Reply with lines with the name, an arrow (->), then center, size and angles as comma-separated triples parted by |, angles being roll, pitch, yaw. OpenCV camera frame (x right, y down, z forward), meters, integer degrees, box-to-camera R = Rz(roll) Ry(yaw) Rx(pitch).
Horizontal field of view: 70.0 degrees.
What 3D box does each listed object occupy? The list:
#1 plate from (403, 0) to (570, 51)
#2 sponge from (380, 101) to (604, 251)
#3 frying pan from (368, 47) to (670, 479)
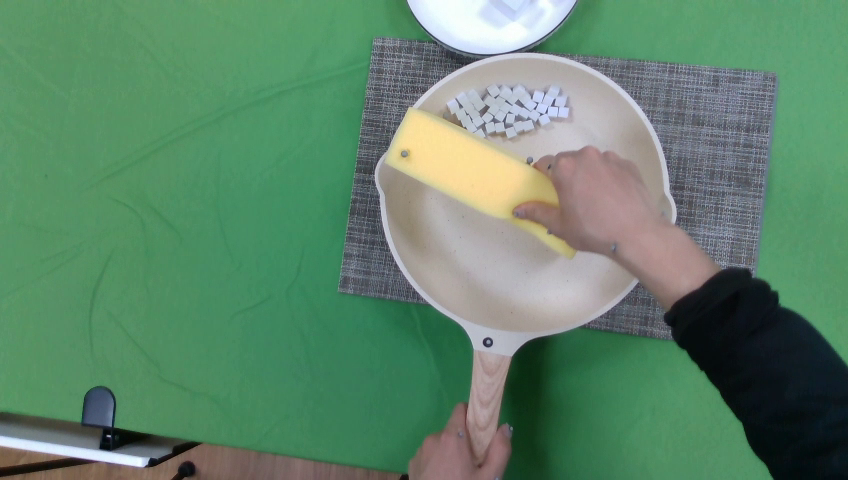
plate -> 0.072, -0.311, 0.682 | 0.207, 0.039, 0.207 | 0, 87, 6
sponge -> 0.073, -0.068, 0.617 | 0.206, 0.118, 0.061 | 26, 103, 6
frying pan -> 0.076, 0.049, 0.627 | 0.306, 0.103, 0.486 | 10, 80, 7
